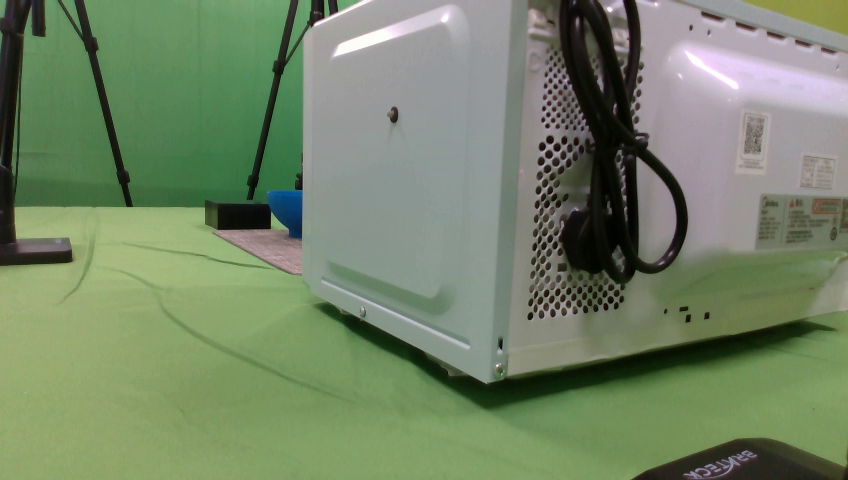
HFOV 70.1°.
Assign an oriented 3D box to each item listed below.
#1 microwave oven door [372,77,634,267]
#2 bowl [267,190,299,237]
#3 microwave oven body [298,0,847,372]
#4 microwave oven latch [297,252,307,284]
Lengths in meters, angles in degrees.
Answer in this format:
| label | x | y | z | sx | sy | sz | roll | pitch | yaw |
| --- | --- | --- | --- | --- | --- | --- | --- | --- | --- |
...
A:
| label | x | y | z | sx | sy | sz | roll | pitch | yaw |
| --- | --- | --- | --- | --- | --- | --- | --- | --- | --- |
| microwave oven door | 0.096 | -0.099 | 0.837 | 0.355 | 0.243 | 0.039 | 5 | 8 | 20 |
| bowl | -0.202 | -0.046 | 1.069 | 0.151 | 0.077 | 0.151 | 3 | 7 | 0 |
| microwave oven body | 0.151 | -0.055 | 0.543 | 0.444 | 0.260 | 0.324 | -1 | 7 | -33 |
| microwave oven latch | -0.082 | 0.027 | 0.582 | 0.079 | 0.029 | 0.030 | -1 | 7 | -32 |
